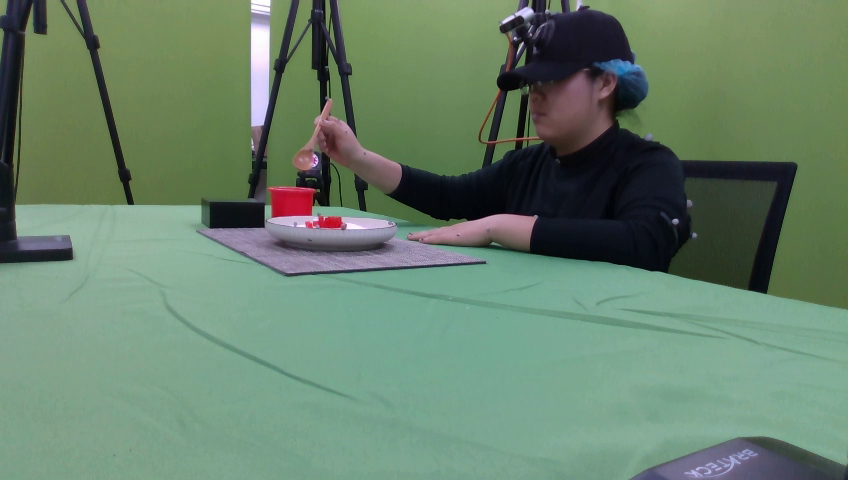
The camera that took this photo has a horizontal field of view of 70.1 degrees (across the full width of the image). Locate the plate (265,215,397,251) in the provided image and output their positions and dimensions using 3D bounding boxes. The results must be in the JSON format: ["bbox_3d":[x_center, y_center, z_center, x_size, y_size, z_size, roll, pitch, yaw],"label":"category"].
[{"bbox_3d":[-0.147,-0.012,0.963,0.209,0.038,0.209,3,7,0],"label":"plate"}]

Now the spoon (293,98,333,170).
[{"bbox_3d":[-0.222,-0.221,1.248,0.042,0.193,0.021,23,-25,-10],"label":"spoon"}]

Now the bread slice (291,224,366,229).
[{"bbox_3d":[-0.154,-0.012,0.973,0.132,0.019,0.104,-1,8,-31],"label":"bread slice"}]
